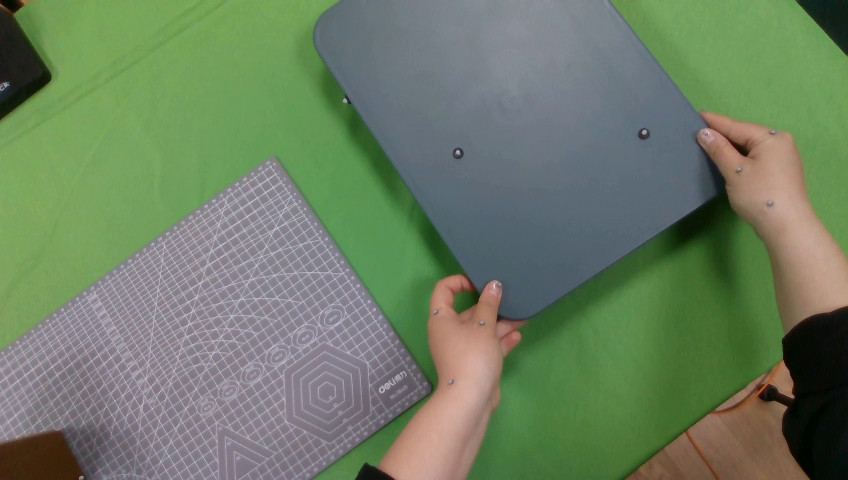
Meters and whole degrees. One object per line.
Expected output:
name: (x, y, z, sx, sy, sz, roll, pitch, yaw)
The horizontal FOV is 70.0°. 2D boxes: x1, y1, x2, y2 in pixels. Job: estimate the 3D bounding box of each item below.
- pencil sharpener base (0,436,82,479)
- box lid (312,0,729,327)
pencil sharpener base: (-0.387, 0.240, 0.572, 0.061, 0.107, 0.076, -35, 80, -1)
box lid: (0.082, -0.132, 0.585, 0.263, 0.015, 0.370, -34, 80, 0)
